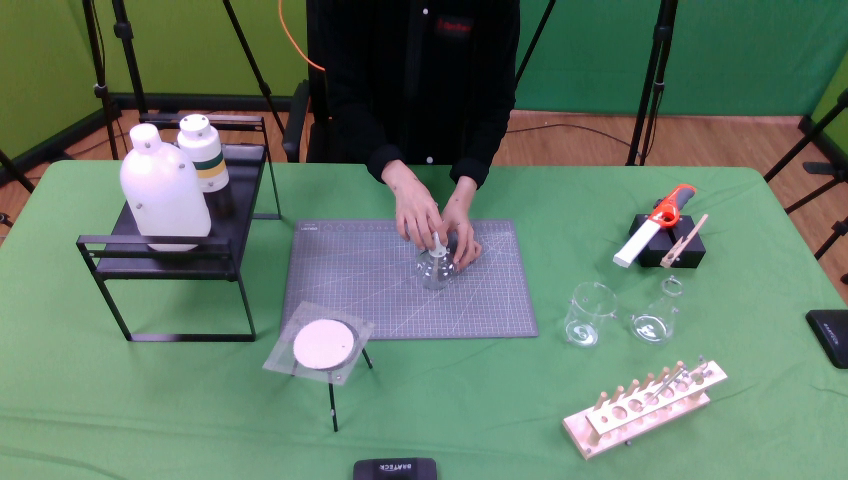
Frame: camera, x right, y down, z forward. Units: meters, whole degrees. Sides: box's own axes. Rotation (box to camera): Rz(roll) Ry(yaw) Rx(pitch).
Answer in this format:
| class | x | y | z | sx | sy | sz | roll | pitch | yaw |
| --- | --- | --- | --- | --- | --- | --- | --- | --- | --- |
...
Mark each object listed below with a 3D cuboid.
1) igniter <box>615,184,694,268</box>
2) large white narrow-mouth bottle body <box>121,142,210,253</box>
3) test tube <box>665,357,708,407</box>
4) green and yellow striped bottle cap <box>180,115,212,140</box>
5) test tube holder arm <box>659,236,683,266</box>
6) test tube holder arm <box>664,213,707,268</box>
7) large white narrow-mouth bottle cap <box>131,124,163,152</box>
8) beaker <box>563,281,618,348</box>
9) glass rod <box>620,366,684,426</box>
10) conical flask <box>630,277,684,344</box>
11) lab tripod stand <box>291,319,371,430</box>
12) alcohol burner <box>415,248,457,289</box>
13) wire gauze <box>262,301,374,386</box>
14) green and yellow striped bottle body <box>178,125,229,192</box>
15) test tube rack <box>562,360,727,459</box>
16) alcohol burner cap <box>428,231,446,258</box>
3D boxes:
| class | x | y | z | sx | sy | sz | roll | pitch | yaw |
| --- | --- | --- | --- | --- | --- | --- | --- | --- | --- |
| igniter | 0.459 | -0.035 | 1.197 | 0.057 | 0.025 | 0.276 | 32 | 55 | 27 |
| large white narrow-mouth bottle body | -0.378 | -0.078 | 0.875 | 0.102 | 0.195 | 0.101 | 3 | 46 | -3 |
| test tube | 0.387 | 0.216 | 0.905 | 0.017 | 0.151 | 0.017 | 1 | 53 | -1 |
| green and yellow striped bottle cap | -0.358 | -0.177 | 0.951 | 0.045 | 0.020 | 0.045 | 2 | 45 | -1 |
| test tube holder arm | 0.472 | 0.020 | 1.149 | 0.010 | 0.015 | 0.088 | 35 | 54 | 27 |
| test tube holder arm | 0.507 | -0.001 | 1.171 | 0.013 | 0.015 | 0.178 | 33 | 54 | 26 |
| large white narrow-mouth bottle cap | -0.371 | -0.138 | 0.812 | 0.038 | 0.024 | 0.037 | 3 | 46 | -3 |
| beaker | 0.283 | 0.129 | 1.041 | 0.074 | 0.101 | 0.083 | 11 | 46 | 7 |
| glass rod | 0.322 | 0.227 | 0.866 | 0.008 | 0.200 | 0.008 | 5 | 51 | -7 |
| conical flask | 0.408 | 0.117 | 1.045 | 0.075 | 0.122 | 0.075 | 2 | 46 | -2 |
| lab tripod stand | -0.146 | 0.193 | 0.923 | 0.148 | 0.132 | 0.147 | 1 | 47 | -1 |
| alcohol burner | 0.022 | 0.033 | 1.099 | 0.078 | 0.120 | 0.077 | 1 | 47 | -1 |
| wire gauze | -0.150 | 0.148 | 0.873 | 0.121 | 0.011 | 0.124 | 14 | 46 | 12 |
| green and yellow striped bottle body | -0.361 | -0.142 | 0.989 | 0.063 | 0.120 | 0.063 | 2 | 46 | -2 |
| test tube rack | 0.341 | 0.247 | 0.940 | 0.243 | 0.085 | 0.066 | -16 | 49 | -18 |
| alcohol burner cap | 0.024 | 0.005 | 1.067 | 0.034 | 0.048 | 0.033 | 1 | 46 | -1 |
